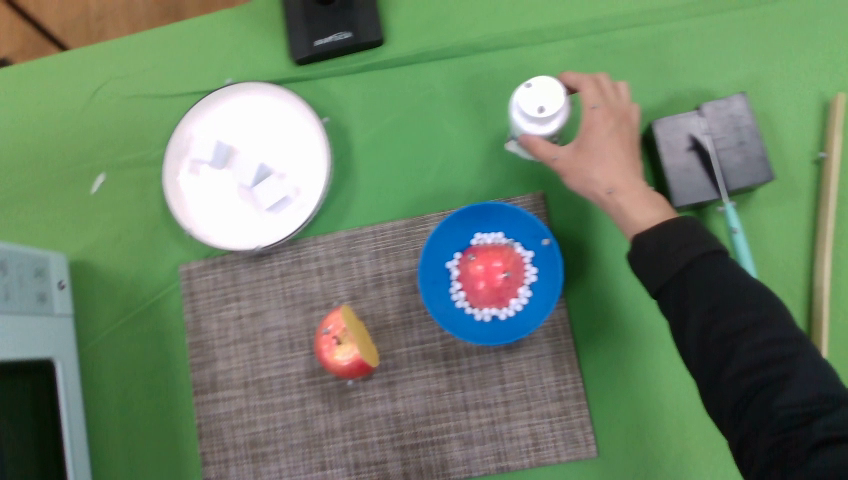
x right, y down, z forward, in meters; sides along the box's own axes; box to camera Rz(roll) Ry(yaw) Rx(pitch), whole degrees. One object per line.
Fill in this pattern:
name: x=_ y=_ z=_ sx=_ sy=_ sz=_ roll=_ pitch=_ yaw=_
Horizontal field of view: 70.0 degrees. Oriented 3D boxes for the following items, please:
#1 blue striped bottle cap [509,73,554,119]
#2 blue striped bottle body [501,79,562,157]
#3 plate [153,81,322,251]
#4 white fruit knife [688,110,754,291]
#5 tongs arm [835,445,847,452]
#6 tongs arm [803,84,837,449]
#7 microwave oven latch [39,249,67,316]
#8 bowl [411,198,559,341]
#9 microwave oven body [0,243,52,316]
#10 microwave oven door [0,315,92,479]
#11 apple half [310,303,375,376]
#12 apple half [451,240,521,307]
blue striped bottle cap: x=0.108 y=-0.145 z=0.608 sx=0.044 sy=0.021 sz=0.044 roll=-1 pitch=85 yaw=7
blue striped bottle body: x=0.115 y=-0.136 z=0.658 sx=0.063 sy=0.121 sz=0.063 roll=-1 pitch=81 yaw=7
plate: x=-0.222 y=-0.087 z=0.735 sx=0.207 sy=0.039 sz=0.207 roll=-1 pitch=83 yaw=6
white fruit knife: x=0.311 y=-0.039 z=0.639 sx=0.016 sy=0.027 sz=0.208 roll=-19 pitch=98 yaw=22
tongs arm: x=0.505 y=0.040 z=0.632 sx=0.050 sy=0.026 sz=0.384 roll=18 pitch=87 yaw=10
tongs arm: x=0.427 y=0.022 z=0.648 sx=0.028 sy=0.028 sz=0.386 roll=5 pitch=84 yaw=5
microwave oven latch: x=-0.453 y=0.052 z=0.726 sx=0.030 sy=0.029 sz=0.079 roll=-13 pitch=82 yaw=4
bowl: x=0.066 y=0.035 z=0.660 sx=0.151 sy=0.077 sz=0.151 roll=-1 pitch=82 yaw=8
microwave oven body: x=-0.571 y=0.243 z=0.618 sx=0.326 sy=0.261 sz=0.440 roll=-13 pitch=82 yaw=4
microwave oven door: x=-0.421 y=0.249 z=0.594 sx=0.039 sy=0.245 sz=0.354 roll=-14 pitch=81 yaw=5
apple half: x=-0.095 y=0.116 z=0.672 sx=0.053 sy=0.075 sz=0.080 roll=-32 pitch=84 yaw=6
apple half: x=0.067 y=0.035 z=0.655 sx=0.081 sy=0.033 sz=0.081 roll=-1 pitch=81 yaw=7
